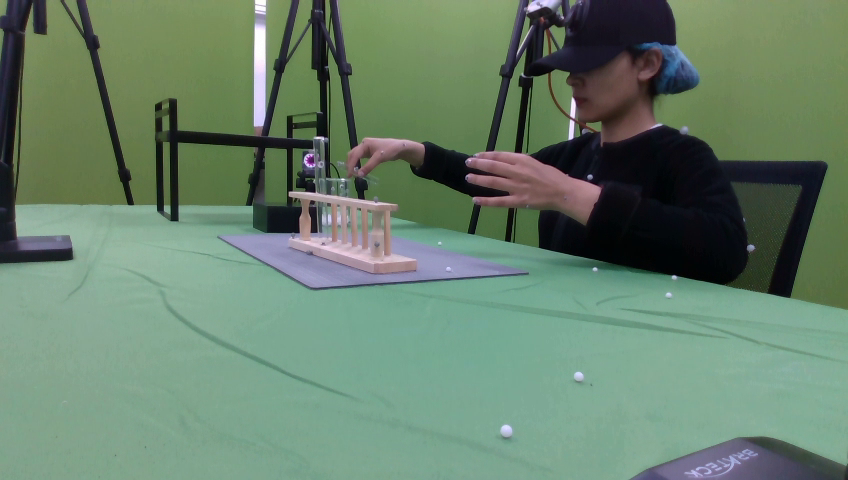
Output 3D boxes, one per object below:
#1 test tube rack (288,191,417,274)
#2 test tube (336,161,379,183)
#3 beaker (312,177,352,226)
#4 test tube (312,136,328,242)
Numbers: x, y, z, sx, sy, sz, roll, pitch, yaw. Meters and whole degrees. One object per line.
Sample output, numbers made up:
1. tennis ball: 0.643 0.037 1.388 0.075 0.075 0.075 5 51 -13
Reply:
1. test tube rack: -0.106 -0.017 0.835 0.067 0.085 0.241 -3 9 -37
2. test tube: -0.142 -0.148 1.328 0.017 0.017 0.151 7 -5 30
3. beaker: -0.194 -0.081 1.266 0.084 0.100 0.073 -3 9 -29
4. test tube: -0.146 -0.071 0.850 0.017 0.150 0.017 -1 11 0
